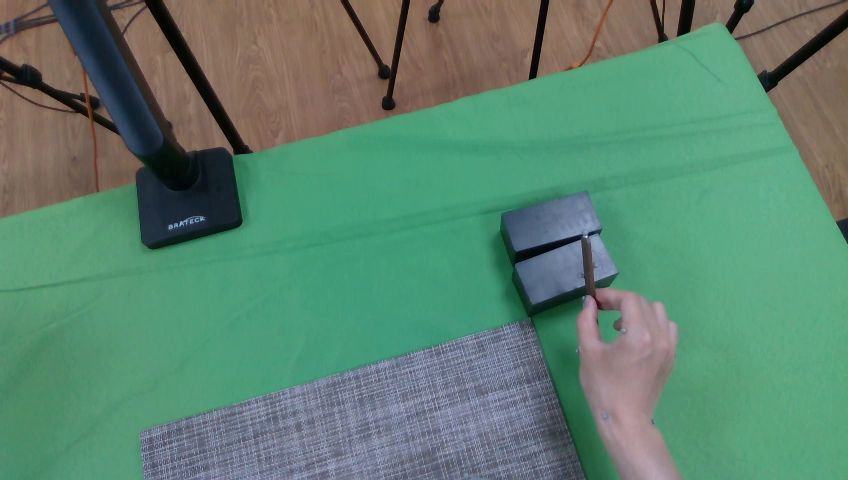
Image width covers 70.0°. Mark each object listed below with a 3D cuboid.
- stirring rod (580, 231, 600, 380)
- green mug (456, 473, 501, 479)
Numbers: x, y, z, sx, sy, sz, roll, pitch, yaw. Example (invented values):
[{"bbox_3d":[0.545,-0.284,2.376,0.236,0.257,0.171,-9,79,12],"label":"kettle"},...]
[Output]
[{"bbox_3d":[0.169,0.071,0.615,0.006,0.177,0.014,-17,27,-9],"label":"stirring rod"},{"bbox_3d":[0.061,0.279,0.558,0.092,0.105,0.124,-32,71,-8],"label":"green mug"}]
